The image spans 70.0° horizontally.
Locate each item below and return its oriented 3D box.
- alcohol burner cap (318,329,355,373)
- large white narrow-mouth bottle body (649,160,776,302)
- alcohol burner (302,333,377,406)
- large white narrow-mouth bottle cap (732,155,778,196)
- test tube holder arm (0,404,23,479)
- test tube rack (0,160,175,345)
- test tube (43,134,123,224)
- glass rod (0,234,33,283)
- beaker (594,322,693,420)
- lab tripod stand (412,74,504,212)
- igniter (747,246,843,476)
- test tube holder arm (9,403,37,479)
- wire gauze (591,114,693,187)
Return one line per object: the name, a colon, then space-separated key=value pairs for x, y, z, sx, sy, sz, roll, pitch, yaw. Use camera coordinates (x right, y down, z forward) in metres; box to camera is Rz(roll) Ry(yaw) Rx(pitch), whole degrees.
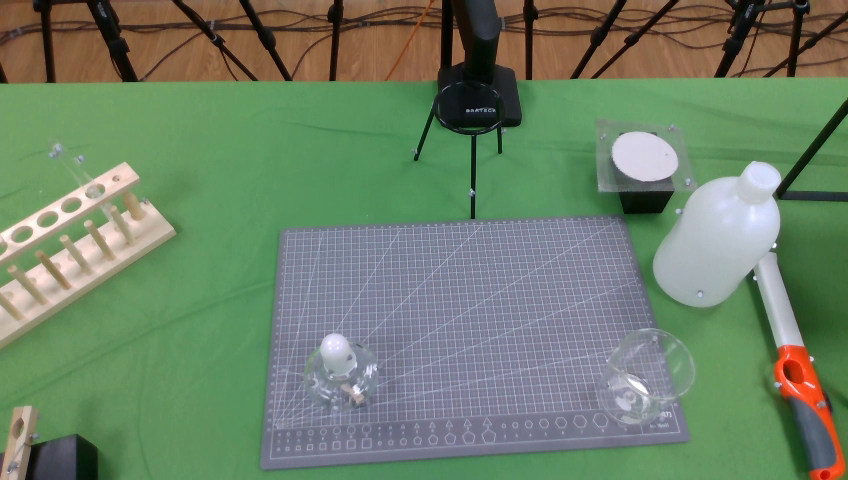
alcohol burner cap: x=-0.087 y=0.106 z=0.588 sx=0.034 sy=0.048 sz=0.033 roll=-2 pitch=57 yaw=4
large white narrow-mouth bottle body: x=0.329 y=-0.016 z=0.678 sx=0.102 sy=0.196 sz=0.101 roll=1 pitch=56 yaw=-1
alcohol burner: x=-0.087 y=0.125 z=0.619 sx=0.078 sy=0.120 sz=0.077 roll=2 pitch=56 yaw=-2
large white narrow-mouth bottle cap: x=0.330 y=-0.065 z=0.607 sx=0.038 sy=0.024 sz=0.037 roll=1 pitch=57 yaw=-1
test tube holder arm: x=-0.382 y=0.198 z=0.564 sx=0.010 sy=0.015 sz=0.087 roll=-10 pitch=62 yaw=1
test tube rack: x=-0.424 y=0.015 z=0.700 sx=0.242 sy=0.086 sz=0.066 roll=-39 pitch=66 yaw=-23
test tube: x=-0.386 y=-0.065 z=0.694 sx=0.017 sy=0.151 sz=0.017 roll=-2 pitch=56 yaw=3
glass rod: x=-0.456 y=-0.013 z=0.639 sx=0.008 sy=0.201 sz=0.008 roll=3 pitch=48 yaw=-3
beaker: x=0.219 y=0.140 z=0.627 sx=0.084 sy=0.101 sz=0.073 roll=2 pitch=56 yaw=1
lab tripod stand: x=0.053 y=-0.131 z=0.781 sx=0.148 sy=0.132 sz=0.147 roll=2 pitch=58 yaw=-2
igniter: x=0.415 y=0.125 z=0.689 sx=0.057 sy=0.025 sz=0.274 roll=7 pitch=56 yaw=-9
test tube holder arm: x=-0.370 y=0.236 z=0.543 sx=0.013 sy=0.015 sz=0.176 roll=-11 pitch=62 yaw=0
wire gauze: x=0.282 y=-0.117 z=0.795 sx=0.121 sy=0.011 sz=0.124 roll=4 pitch=57 yaw=1
